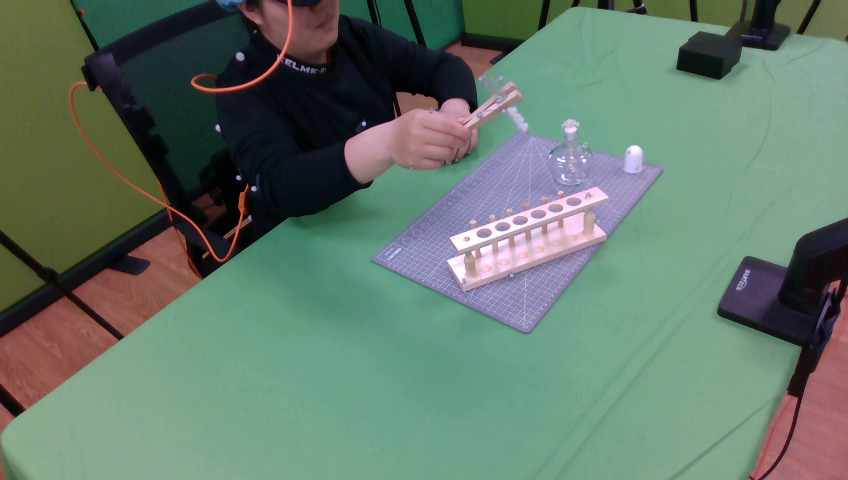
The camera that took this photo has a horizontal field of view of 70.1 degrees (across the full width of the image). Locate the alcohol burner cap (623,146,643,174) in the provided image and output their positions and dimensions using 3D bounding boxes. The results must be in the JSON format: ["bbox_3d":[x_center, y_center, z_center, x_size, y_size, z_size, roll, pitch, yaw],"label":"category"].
[{"bbox_3d":[0.369,-0.143,1.061,0.034,0.048,0.033,-7,41,6],"label":"alcohol burner cap"}]

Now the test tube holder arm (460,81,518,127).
[{"bbox_3d":[0.084,-0.175,0.793,0.087,0.015,0.010,-38,59,22],"label":"test tube holder arm"}]

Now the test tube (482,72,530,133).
[{"bbox_3d":[0.112,-0.177,0.798,0.017,0.151,0.017,-9,70,26],"label":"test tube"}]

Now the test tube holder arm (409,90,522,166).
[{"bbox_3d":[0.052,-0.147,0.809,0.178,0.015,0.013,-31,61,26],"label":"test tube holder arm"}]

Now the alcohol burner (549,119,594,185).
[{"bbox_3d":[0.254,-0.155,1.043,0.078,0.120,0.077,-7,40,7],"label":"alcohol burner"}]

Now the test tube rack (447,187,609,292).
[{"bbox_3d":[0.155,-0.011,0.913,0.243,0.085,0.066,-19,41,-11],"label":"test tube rack"}]
